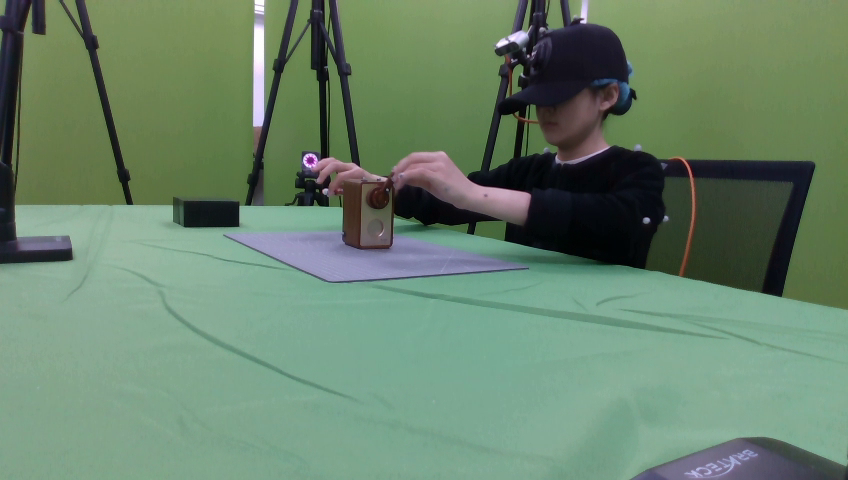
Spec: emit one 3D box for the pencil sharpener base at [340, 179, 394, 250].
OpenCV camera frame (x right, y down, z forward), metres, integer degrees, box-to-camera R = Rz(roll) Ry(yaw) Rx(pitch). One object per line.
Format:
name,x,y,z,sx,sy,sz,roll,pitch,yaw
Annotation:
pencil sharpener base,-0.091,-0.041,0.959,0.061,0.107,0.076,-1,9,-30

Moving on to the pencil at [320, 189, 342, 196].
pencil,-0.143,-0.080,1.049,0.012,0.012,0.193,-1,7,-29

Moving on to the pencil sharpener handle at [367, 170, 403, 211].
pencil sharpener handle,-0.057,-0.075,0.914,0.036,0.068,0.030,31,-8,-30
